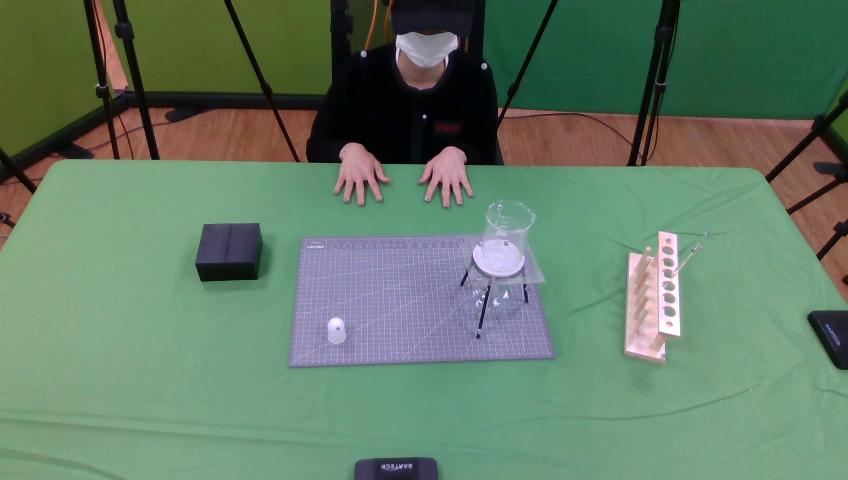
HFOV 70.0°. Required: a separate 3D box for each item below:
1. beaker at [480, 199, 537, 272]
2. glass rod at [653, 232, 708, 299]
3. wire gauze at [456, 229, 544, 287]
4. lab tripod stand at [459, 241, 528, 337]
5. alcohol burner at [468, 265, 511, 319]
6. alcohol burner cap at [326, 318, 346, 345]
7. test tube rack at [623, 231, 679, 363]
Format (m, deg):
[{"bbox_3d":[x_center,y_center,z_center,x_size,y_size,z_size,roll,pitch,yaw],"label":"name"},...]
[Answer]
[{"bbox_3d":[0.132,-0.004,0.973,0.084,0.101,0.073,-4,47,-9],"label":"beaker"},{"bbox_3d":[0.441,0.049,1.050,0.008,0.200,0.008,4,52,-5],"label":"glass rod"},{"bbox_3d":[0.125,0.030,1.008,0.125,0.011,0.120,-3,48,-11],"label":"wire gauze"},{"bbox_3d":[0.122,0.075,1.054,0.148,0.132,0.147,3,44,-3],"label":"lab tripod stand"},{"bbox_3d":[0.117,0.083,1.060,0.078,0.119,0.077,3,48,-3],"label":"alcohol burner"},{"bbox_3d":[-0.149,0.151,1.023,0.034,0.048,0.033,2,46,-2],"label":"alcohol burner cap"},{"bbox_3d":[0.410,0.094,1.096,0.066,0.085,0.241,13,46,9],"label":"test tube rack"}]
